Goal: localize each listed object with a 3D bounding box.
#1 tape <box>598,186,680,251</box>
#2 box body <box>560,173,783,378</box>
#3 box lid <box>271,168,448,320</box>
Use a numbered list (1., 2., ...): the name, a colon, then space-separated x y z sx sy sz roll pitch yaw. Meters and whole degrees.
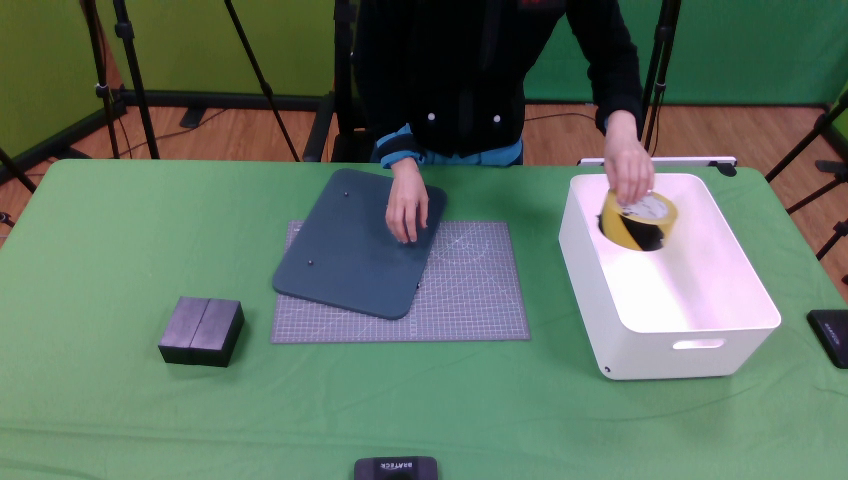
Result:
1. tape: 0.336 -0.036 0.951 0.117 0.053 0.116 5 35 -3
2. box body: 0.405 0.057 1.074 0.254 0.161 0.361 -2 46 -5
3. box lid: -0.115 -0.007 1.200 0.263 0.015 0.369 12 46 8
